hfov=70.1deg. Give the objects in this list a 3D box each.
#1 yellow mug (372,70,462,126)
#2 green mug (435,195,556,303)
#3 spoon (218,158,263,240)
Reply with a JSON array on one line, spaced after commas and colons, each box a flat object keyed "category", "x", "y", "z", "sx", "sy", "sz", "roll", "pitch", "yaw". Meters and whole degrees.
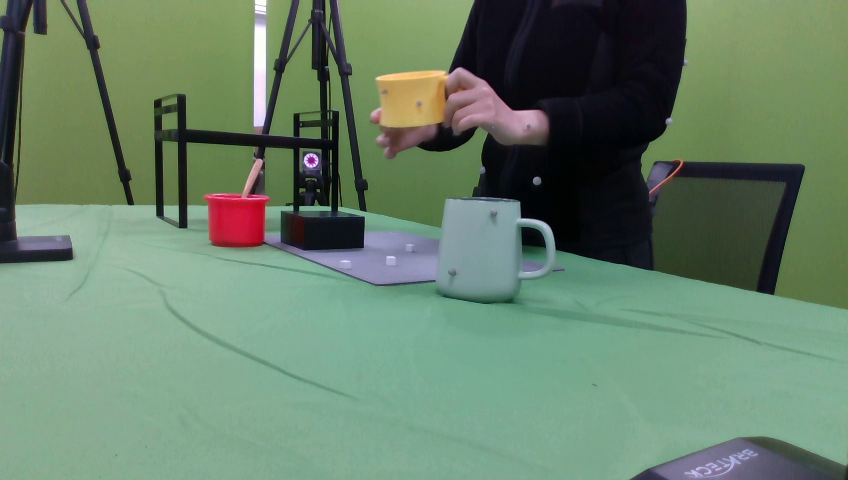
[{"category": "yellow mug", "x": -0.007, "y": -0.199, "z": 0.845, "sx": 0.130, "sy": 0.064, "sz": 0.100, "roll": 7, "pitch": 23, "yaw": 26}, {"category": "green mug", "x": 0.074, "y": 0.009, "z": 0.624, "sx": 0.125, "sy": 0.105, "sz": 0.093, "roll": 5, "pitch": 7, "yaw": 24}, {"category": "spoon", "x": -0.287, "y": -0.070, "z": 0.974, "sx": 0.041, "sy": 0.021, "sz": 0.193, "roll": 5, "pitch": 51, "yaw": 2}]
